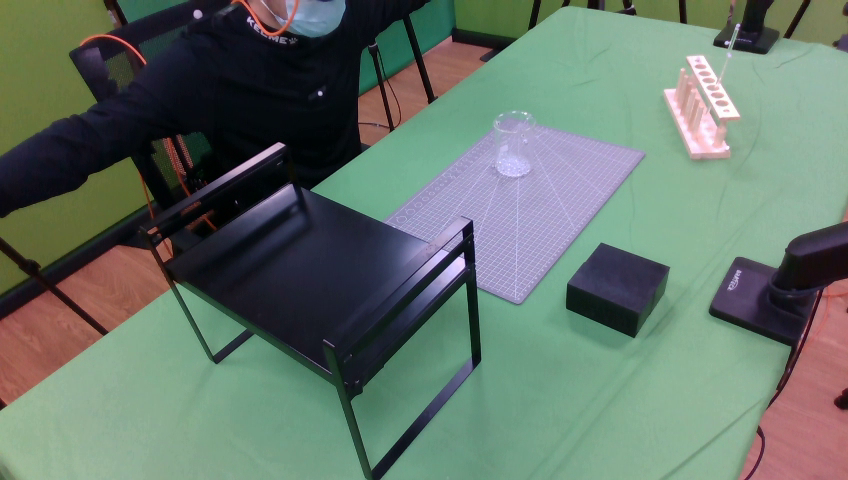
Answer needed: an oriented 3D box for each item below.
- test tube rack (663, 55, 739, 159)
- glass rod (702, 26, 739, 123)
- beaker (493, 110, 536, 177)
[{"bbox_3d":[0.518,-0.256,1.144,0.066,0.085,0.241,-1,41,8],"label":"test tube rack"},{"bbox_3d":[0.526,-0.288,1.078,0.008,0.200,0.008,-2,49,3],"label":"glass rod"},{"bbox_3d":[0.165,-0.172,1.082,0.084,0.101,0.073,-34,47,-28],"label":"beaker"}]
